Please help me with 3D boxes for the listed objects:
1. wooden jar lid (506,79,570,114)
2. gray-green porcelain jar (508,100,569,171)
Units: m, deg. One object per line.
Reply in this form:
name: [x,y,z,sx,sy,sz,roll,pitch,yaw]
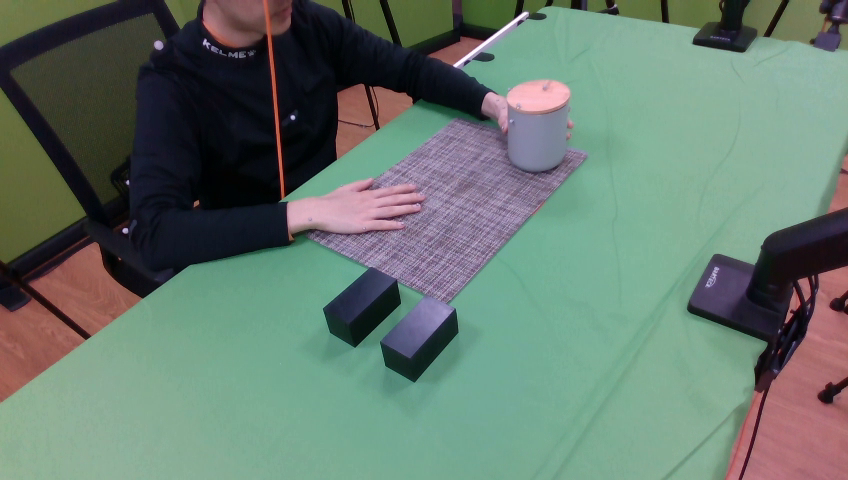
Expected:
wooden jar lid: [0.197,-0.243,1.041,0.108,0.021,0.108,-7,41,7]
gray-green porcelain jar: [0.203,-0.196,1.081,0.106,0.127,0.105,-4,41,4]
